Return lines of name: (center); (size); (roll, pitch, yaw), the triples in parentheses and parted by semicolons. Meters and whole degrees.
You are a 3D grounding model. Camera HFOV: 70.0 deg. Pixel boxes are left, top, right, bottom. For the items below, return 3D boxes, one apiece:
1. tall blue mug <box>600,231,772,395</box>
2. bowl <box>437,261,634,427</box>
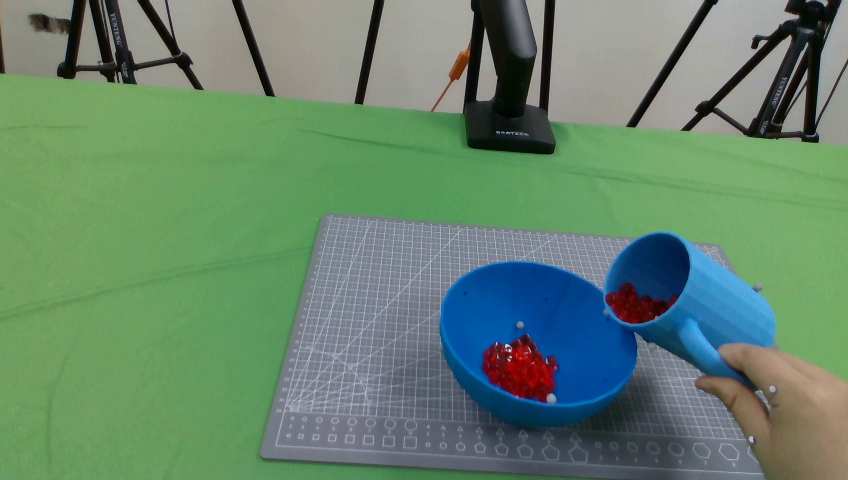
tall blue mug: (0.204, 0.055, 0.448); (0.109, 0.078, 0.106); (29, 2, -26)
bowl: (0.080, 0.094, 0.482); (0.151, 0.077, 0.150); (5, 38, -3)
